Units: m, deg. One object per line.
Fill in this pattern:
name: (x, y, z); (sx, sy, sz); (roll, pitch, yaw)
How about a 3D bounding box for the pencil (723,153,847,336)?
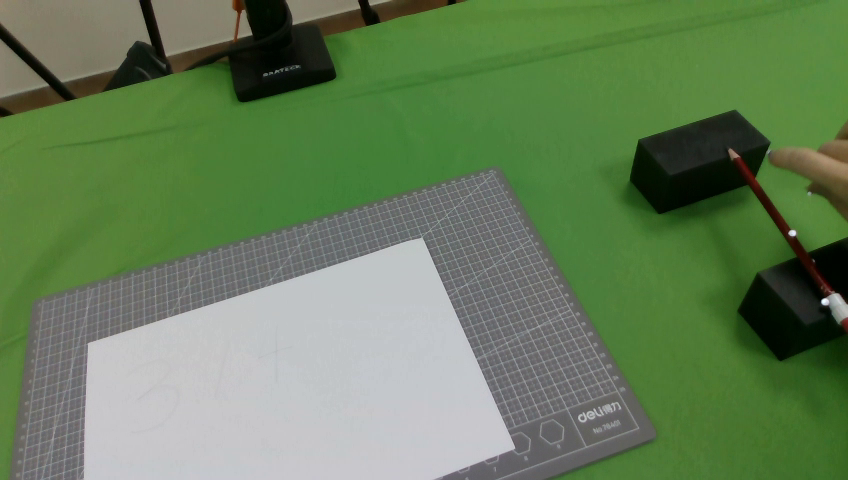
pencil: (0.273, -0.006, 0.462); (0.012, 0.012, 0.192); (-10, 48, -1)
